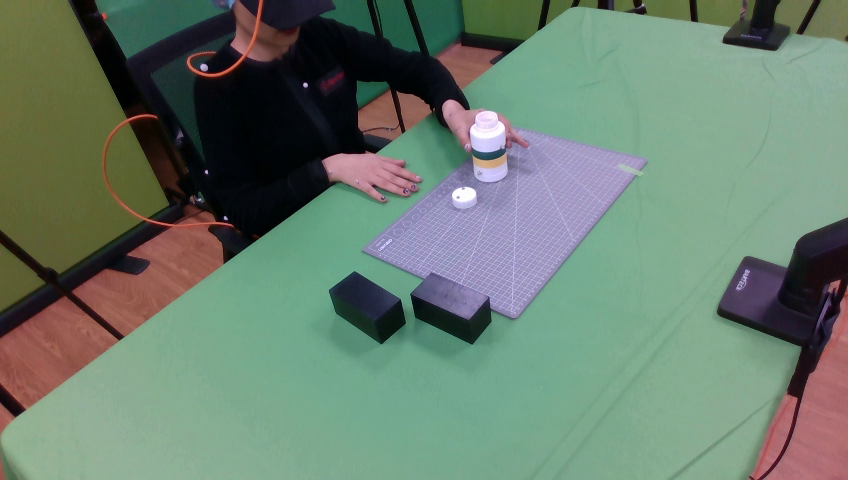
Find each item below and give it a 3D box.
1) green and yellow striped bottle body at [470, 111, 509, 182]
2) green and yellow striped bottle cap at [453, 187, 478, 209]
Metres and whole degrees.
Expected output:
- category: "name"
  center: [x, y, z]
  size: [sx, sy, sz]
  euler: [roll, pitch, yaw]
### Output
- category: "green and yellow striped bottle body"
  center: [0.117, -0.169, 1.079]
  size: [0.063, 0.120, 0.063]
  euler: [-6, 40, 5]
- category: "green and yellow striped bottle cap"
  center: [0.072, -0.074, 1.057]
  size: [0.045, 0.020, 0.045]
  euler: [-6, 39, 6]
